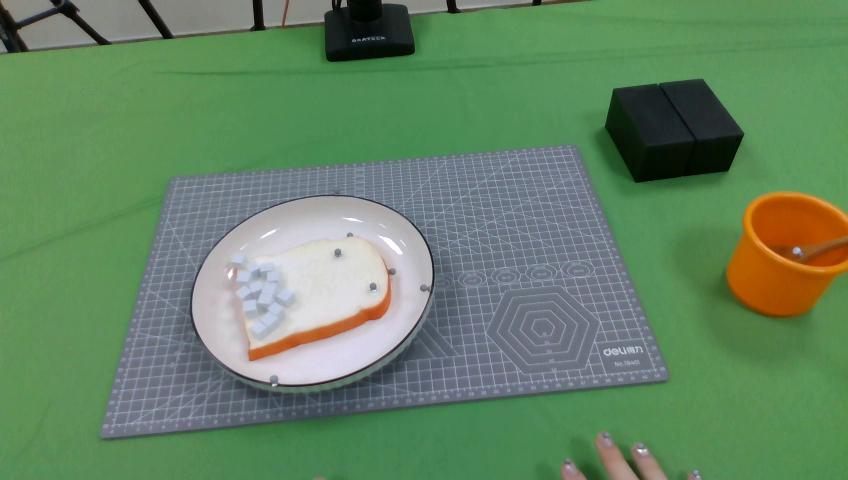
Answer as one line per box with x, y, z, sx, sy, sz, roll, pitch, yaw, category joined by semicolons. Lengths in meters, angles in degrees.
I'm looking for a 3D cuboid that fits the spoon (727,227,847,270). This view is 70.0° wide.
0.340;-0.003;0.482;0.022;0.193;0.041;53;55;-12;spoon

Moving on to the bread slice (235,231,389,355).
-0.099;0.037;0.537;0.132;0.019;0.103;-17;51;-11;bread slice

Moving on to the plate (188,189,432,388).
-0.096;0.039;0.531;0.209;0.038;0.207;-1;49;1;plate
